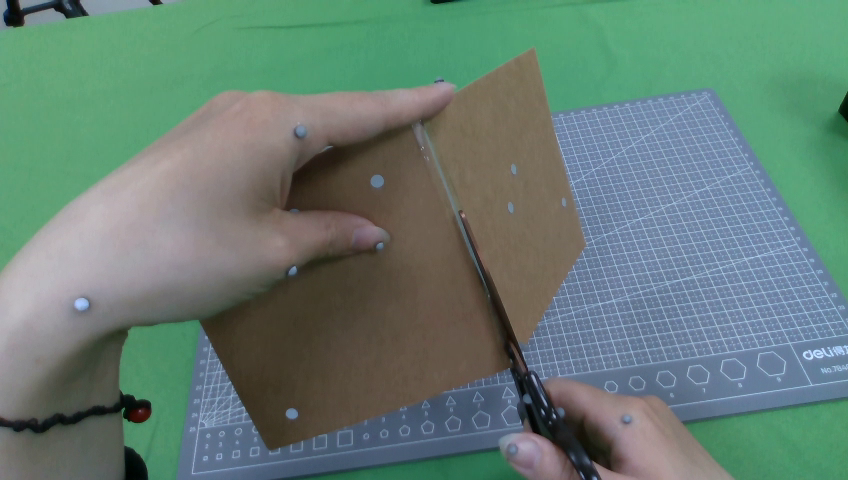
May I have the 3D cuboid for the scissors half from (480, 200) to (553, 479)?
[{"bbox_3d":[0.044,0.062,0.308,0.013,0.176,0.039,-18,23,-15],"label":"scissors half"}]

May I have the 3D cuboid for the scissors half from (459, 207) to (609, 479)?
[{"bbox_3d":[0.051,0.062,0.285,0.013,0.040,0.174,-18,75,-20],"label":"scissors half"}]

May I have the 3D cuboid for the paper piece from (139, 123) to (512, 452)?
[{"bbox_3d":[-0.044,0.030,0.292,0.138,0.136,0.008,-19,15,6],"label":"paper piece"}]

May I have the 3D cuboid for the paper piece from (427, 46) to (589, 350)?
[{"bbox_3d":[0.057,-0.027,0.335,0.004,0.136,0.135,-6,23,36],"label":"paper piece"}]
